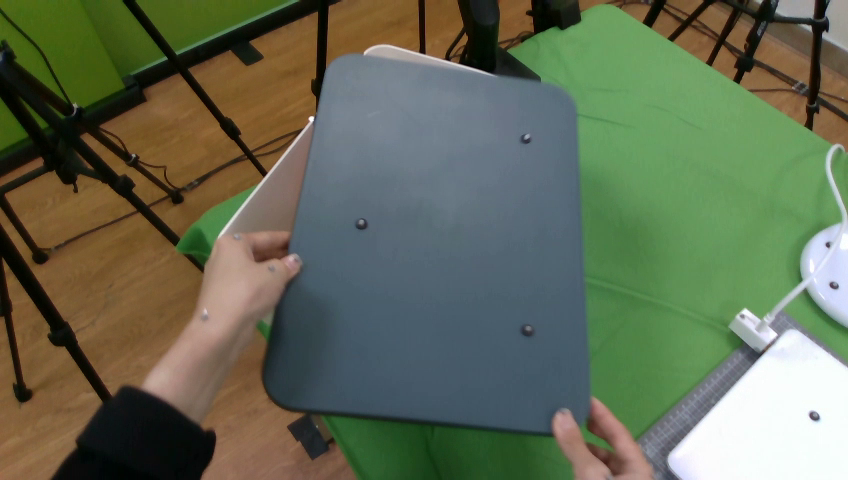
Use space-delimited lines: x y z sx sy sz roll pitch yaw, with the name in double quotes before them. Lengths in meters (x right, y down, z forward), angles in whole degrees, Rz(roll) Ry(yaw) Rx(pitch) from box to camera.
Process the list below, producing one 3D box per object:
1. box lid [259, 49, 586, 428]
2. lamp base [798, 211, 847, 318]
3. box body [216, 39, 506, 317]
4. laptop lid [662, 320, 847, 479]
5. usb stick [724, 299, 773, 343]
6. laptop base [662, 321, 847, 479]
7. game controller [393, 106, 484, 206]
"box lid" 0.013 -0.026 0.554 0.264 0.015 0.368 7 61 -5
"lamp base" 0.546 -0.016 0.688 0.160 0.182 0.178 10 53 7
"box body" -0.026 -0.043 0.721 0.253 0.162 0.362 20 58 13
"laptop lid" 0.441 0.261 0.583 0.241 0.013 0.353 -35 62 -18
"usb stick" 0.377 0.098 0.693 0.021 0.027 0.058 -29 63 -24
"laptop base" 0.443 0.266 0.593 0.235 0.023 0.351 -37 63 -18
"game controller" 0.021 -0.108 0.745 0.097 0.052 0.154 9 55 3
